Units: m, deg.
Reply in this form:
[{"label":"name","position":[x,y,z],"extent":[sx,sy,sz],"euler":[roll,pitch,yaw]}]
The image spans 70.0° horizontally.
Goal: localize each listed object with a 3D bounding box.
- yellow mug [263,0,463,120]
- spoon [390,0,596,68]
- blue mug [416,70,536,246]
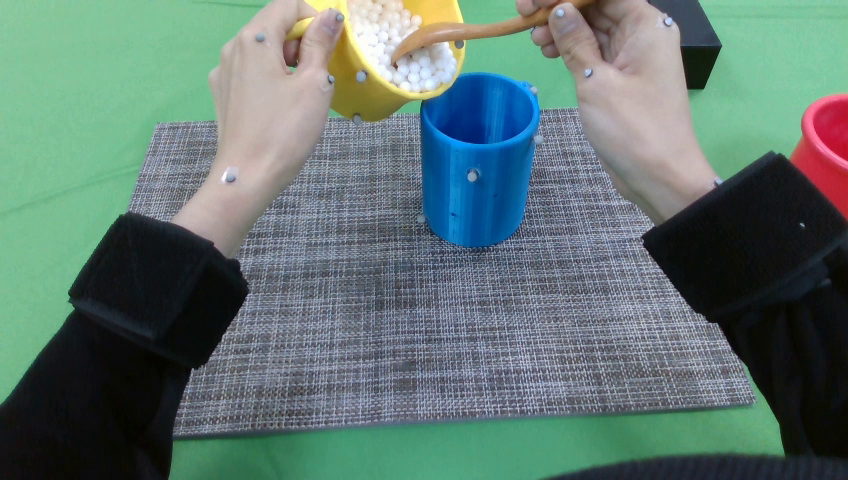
[{"label":"yellow mug","position":[-0.043,-0.134,0.403],"extent":[0.131,0.063,0.100],"euler":[-17,96,-37]},{"label":"spoon","position":[0.044,-0.127,0.354],"extent":[0.192,0.022,0.041],"euler":[5,32,48]},{"label":"blue mug","position":[0.047,-0.069,0.461],"extent":[0.081,0.107,0.116],"euler":[35,59,24]}]
